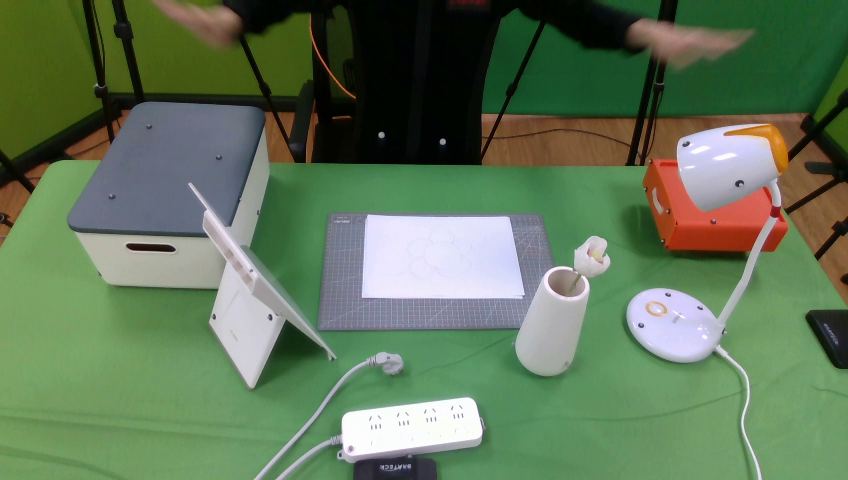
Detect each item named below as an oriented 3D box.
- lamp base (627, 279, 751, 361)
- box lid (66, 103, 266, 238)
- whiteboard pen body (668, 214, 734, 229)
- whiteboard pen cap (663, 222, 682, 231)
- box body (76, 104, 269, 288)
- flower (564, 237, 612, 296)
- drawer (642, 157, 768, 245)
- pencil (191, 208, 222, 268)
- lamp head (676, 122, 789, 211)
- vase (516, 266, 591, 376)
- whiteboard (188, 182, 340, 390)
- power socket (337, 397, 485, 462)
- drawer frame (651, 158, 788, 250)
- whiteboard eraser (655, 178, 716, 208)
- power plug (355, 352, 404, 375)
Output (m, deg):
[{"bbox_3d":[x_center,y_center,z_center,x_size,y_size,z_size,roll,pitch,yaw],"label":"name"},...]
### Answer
[{"bbox_3d":[0.459,0.100,1.027,0.178,0.181,0.160,27,51,17],"label":"lamp base"},{"bbox_3d":[-0.447,-0.137,1.094,0.263,0.015,0.369,2,45,-2],"label":"box lid"},{"bbox_3d":[0.547,-0.035,1.200,0.141,0.017,0.017,-8,48,-9],"label":"whiteboard pen body"},{"bbox_3d":[0.488,-0.027,1.188,0.033,0.018,0.018,-1,46,-13],"label":"whiteboard pen cap"},{"bbox_3d":[-0.450,-0.087,1.149,0.254,0.161,0.361,2,46,-2],"label":"box body"},{"bbox_3d":[0.206,0.088,0.893,0.038,0.363,0.044,-17,67,-9],"label":"flower"},{"bbox_3d":[0.564,-0.075,1.210,0.212,0.073,0.193,3,45,-1],"label":"drawer"},{"bbox_3d":[-0.422,-0.008,1.186,0.012,0.012,0.193,3,37,-2],"label":"pencil"},{"bbox_3d":[0.423,-0.104,0.819,0.122,0.113,0.112,-13,33,40],"label":"lamp head"},{"bbox_3d":[0.208,0.132,0.964,0.098,0.201,0.097,3,46,-3],"label":"vase"},{"bbox_3d":[-0.292,0.096,0.929,0.144,0.307,0.216,-38,57,-10],"label":"whiteboard"},{"bbox_3d":[-0.018,0.285,0.915,0.227,0.033,0.071,-5,46,-8],"label":"power socket"},{"bbox_3d":[0.571,-0.074,1.213,0.214,0.083,0.200,1,46,0],"label":"drawer frame"},{"bbox_3d":[0.538,-0.095,1.250,0.113,0.042,0.055,4,52,-10],"label":"whiteboard eraser"},{"bbox_3d":[-0.068,0.202,0.988,0.072,0.053,0.035,-4,47,20],"label":"power plug"}]
